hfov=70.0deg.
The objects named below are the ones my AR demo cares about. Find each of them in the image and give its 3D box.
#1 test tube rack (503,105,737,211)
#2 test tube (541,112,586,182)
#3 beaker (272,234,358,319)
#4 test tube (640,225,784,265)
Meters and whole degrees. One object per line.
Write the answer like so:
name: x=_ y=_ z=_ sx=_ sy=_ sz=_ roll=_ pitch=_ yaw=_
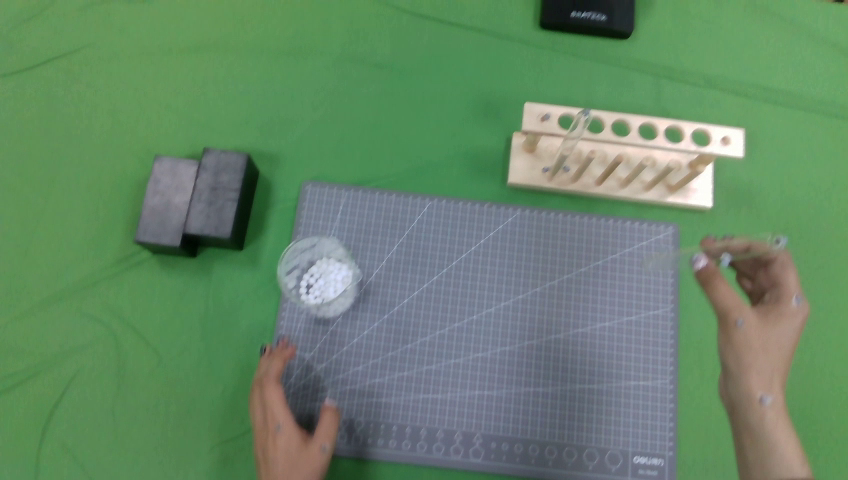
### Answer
test tube rack: x=0.220 y=-0.093 z=0.699 sx=0.242 sy=0.085 sz=0.066 roll=7 pitch=74 yaw=0
test tube: x=0.148 y=-0.097 z=0.651 sx=0.017 sy=0.151 sz=0.017 roll=0 pitch=74 yaw=-1
beaker: x=-0.109 y=0.043 z=0.640 sx=0.084 sy=0.100 sz=0.073 roll=7 pitch=75 yaw=-1
test tube: x=0.233 y=0.007 z=0.508 sx=0.017 sy=0.150 sz=0.017 roll=3 pitch=81 yaw=-18
